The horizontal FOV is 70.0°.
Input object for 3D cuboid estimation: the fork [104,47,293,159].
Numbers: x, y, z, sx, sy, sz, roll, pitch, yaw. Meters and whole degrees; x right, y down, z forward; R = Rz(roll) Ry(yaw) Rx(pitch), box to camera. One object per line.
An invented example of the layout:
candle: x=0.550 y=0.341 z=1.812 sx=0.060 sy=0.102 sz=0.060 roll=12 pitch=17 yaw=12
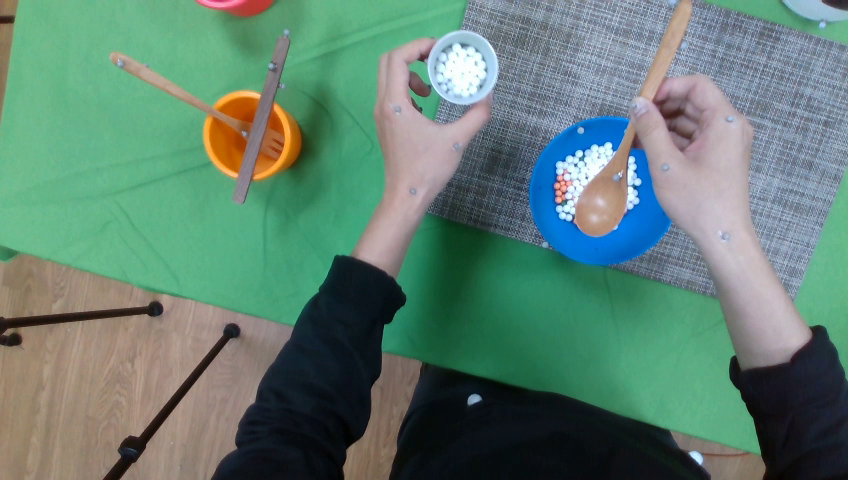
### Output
fork: x=-0.221 y=-0.136 z=0.618 sx=0.209 sy=0.018 sz=0.028 roll=27 pitch=105 yaw=-45

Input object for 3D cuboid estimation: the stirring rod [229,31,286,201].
stirring rod: x=-0.170 y=-0.124 z=0.615 sx=0.014 sy=0.006 sz=0.176 roll=18 pitch=99 yaw=-2

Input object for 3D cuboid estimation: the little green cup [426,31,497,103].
little green cup: x=0.031 y=-0.151 z=0.538 sx=0.061 sy=0.038 sz=0.061 roll=-1 pitch=99 yaw=-4

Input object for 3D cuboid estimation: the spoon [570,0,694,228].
spoon: x=0.163 y=-0.094 z=0.474 sx=0.041 sy=0.022 sz=0.195 roll=35 pitch=128 yaw=26

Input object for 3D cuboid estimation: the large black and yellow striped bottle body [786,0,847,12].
large black and yellow striped bottle body: x=0.417 y=-0.292 z=0.548 sx=0.131 sy=0.183 sz=0.131 roll=0 pitch=98 yaw=3

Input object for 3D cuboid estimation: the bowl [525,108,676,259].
bowl: x=0.178 y=-0.059 z=0.644 sx=0.151 sy=0.076 sz=0.151 roll=0 pitch=99 yaw=3
